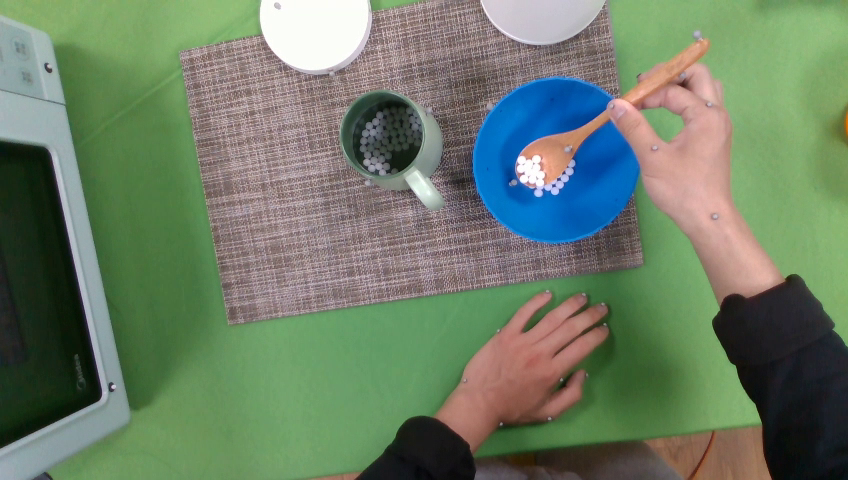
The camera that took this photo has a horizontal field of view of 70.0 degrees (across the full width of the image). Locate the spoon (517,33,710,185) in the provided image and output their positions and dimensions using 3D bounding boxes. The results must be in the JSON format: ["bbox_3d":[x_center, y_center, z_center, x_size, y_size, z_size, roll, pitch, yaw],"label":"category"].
[{"bbox_3d":[0.151,-0.104,0.508,0.041,0.021,0.194,55,135,1],"label":"spoon"}]

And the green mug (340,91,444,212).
[{"bbox_3d":[-0.021,-0.081,0.586,0.092,0.105,0.125,-36,89,7],"label":"green mug"}]

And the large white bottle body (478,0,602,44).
[{"bbox_3d":[0.104,-0.260,0.519,0.130,0.185,0.130,0,90,7],"label":"large white bottle body"}]

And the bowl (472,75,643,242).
[{"bbox_3d":[0.123,-0.075,0.584,0.151,0.077,0.151,0,94,7],"label":"bowl"}]

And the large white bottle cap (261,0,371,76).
[{"bbox_3d":[-0.112,-0.229,0.629,0.115,0.018,0.115,0,93,6],"label":"large white bottle cap"}]

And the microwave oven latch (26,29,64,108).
[{"bbox_3d":[-0.409,-0.179,0.642,0.030,0.029,0.079,-10,93,6],"label":"microwave oven latch"}]

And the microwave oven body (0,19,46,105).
[{"bbox_3d":[-0.531,0.027,0.573,0.326,0.260,0.442,-11,93,6],"label":"microwave oven body"}]

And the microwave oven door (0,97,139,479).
[{"bbox_3d":[-0.381,0.042,0.553,0.039,0.244,0.356,-11,92,7],"label":"microwave oven door"}]
